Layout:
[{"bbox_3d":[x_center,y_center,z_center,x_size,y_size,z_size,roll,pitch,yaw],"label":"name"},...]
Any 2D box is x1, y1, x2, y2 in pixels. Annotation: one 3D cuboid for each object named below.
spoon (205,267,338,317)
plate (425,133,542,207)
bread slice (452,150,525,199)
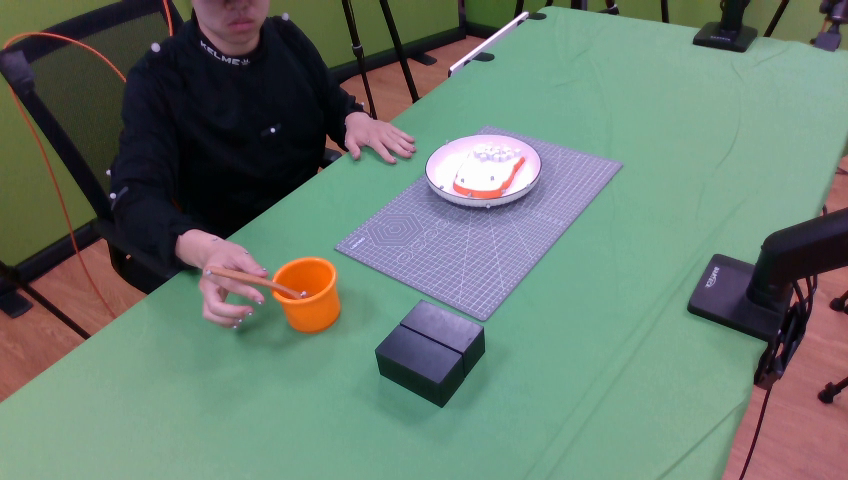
[{"bbox_3d":[-0.202,0.067,0.822,0.021,0.195,0.041,-45,38,25],"label":"spoon"},{"bbox_3d":[0.106,-0.121,1.079,0.209,0.038,0.208,-4,41,4],"label":"plate"},{"bbox_3d":[0.112,-0.118,1.079,0.104,0.019,0.131,11,42,21],"label":"bread slice"}]
